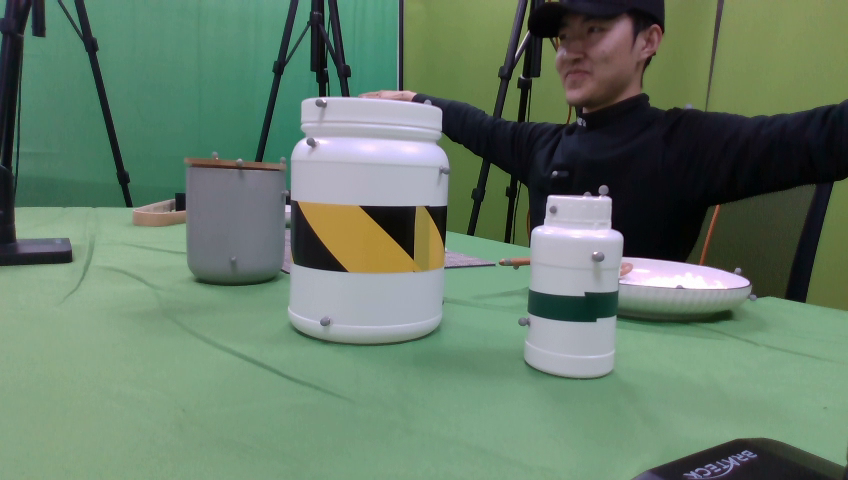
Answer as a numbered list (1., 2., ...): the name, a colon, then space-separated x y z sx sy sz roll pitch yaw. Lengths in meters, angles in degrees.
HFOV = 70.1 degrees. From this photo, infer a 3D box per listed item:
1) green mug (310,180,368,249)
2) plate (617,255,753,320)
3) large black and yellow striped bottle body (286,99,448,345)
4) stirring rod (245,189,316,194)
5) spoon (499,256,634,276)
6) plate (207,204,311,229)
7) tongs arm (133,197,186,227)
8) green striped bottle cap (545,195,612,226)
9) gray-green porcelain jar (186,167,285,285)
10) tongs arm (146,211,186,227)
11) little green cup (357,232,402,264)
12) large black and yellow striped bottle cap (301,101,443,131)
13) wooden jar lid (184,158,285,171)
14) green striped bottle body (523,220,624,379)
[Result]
1. green mug: -0.131 -0.044 0.981 0.092 0.105 0.125 4 8 14
2. plate: 0.234 0.049 0.651 0.209 0.038 0.209 2 7 0
3. large black and yellow striped bottle body: -0.047 -0.018 0.501 0.131 0.184 0.130 2 7 0
4. stirring rod: -0.351 -0.120 1.490 0.177 0.014 0.006 -2 6 -29
5. spoon: 0.162 0.027 0.679 0.195 0.021 0.041 8 2 -30
6. plate: -0.342 -0.050 1.259 0.208 0.039 0.207 2 7 0
7. tongs arm: -0.556 -0.067 1.320 0.051 0.026 0.384 7 7 -5
8. green striped bottle cap: 0.106 -0.020 0.414 0.044 0.020 0.044 2 4 0
9. gray-green porcelain jar: -0.212 -0.017 0.682 0.106 0.126 0.106 2 7 0
10. tongs arm: -0.478 -0.059 1.321 0.028 0.028 0.388 12 9 7
11. little green cup: -0.061 0.011 0.825 0.061 0.038 0.061 1 6 0
12. large black and yellow striped bottle cap: -0.042 -0.100 0.491 0.115 0.019 0.115 1 8 0
13. wooden jar lid: -0.210 -0.078 0.674 0.108 0.020 0.108 5 6 0
14. green striped bottle body: 0.104 0.030 0.422 0.063 0.119 0.063 3 8 0
